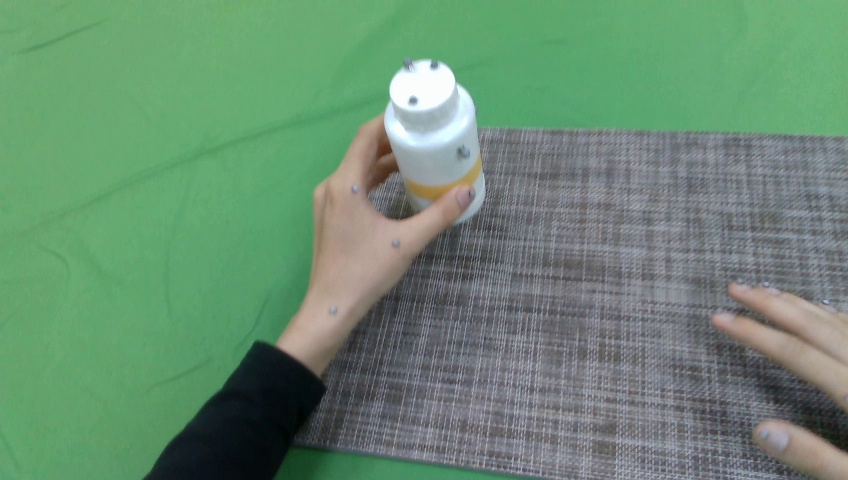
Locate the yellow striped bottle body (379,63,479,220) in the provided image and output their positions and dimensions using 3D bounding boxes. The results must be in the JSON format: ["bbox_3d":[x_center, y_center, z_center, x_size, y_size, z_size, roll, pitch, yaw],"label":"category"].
[{"bbox_3d":[0.005,-0.071,0.435,0.063,0.121,0.062,-4,61,7],"label":"yellow striped bottle body"}]

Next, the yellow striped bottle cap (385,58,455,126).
[{"bbox_3d":[-0.003,-0.096,0.390,0.044,0.019,0.044,-5,57,9],"label":"yellow striped bottle cap"}]
